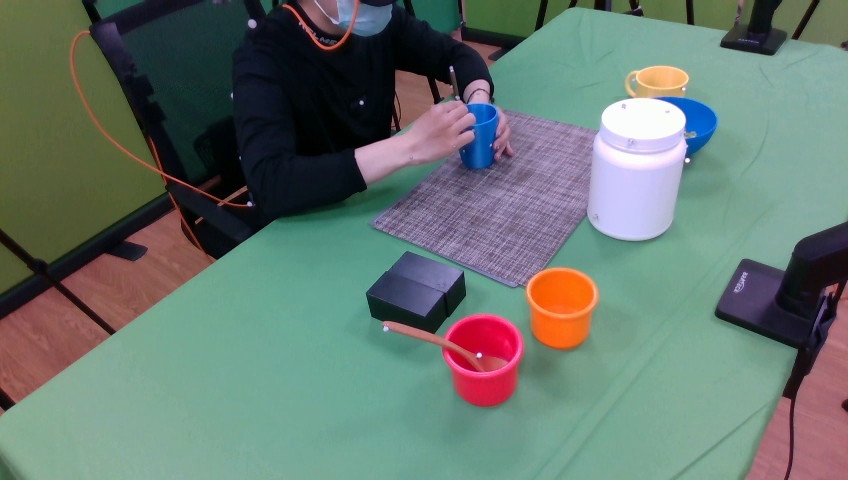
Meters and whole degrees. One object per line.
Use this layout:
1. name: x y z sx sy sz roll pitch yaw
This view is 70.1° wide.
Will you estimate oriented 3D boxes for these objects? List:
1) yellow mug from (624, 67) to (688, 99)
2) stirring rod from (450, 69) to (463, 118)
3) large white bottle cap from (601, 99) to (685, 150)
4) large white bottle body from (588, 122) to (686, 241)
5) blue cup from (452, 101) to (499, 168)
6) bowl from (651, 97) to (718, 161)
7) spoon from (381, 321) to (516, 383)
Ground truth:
1. yellow mug: 0.465 -0.305 1.230 0.100 0.064 0.129 -34 46 -27
2. stirring rod: 0.066 -0.224 1.083 0.006 0.177 0.014 0 42 18
3. large white bottle cap: 0.315 -0.169 0.870 0.115 0.018 0.114 -4 41 4
4. large white bottle body: 0.324 -0.105 0.926 0.130 0.185 0.130 -5 41 4
5. blue cup: 0.098 -0.190 1.117 0.092 0.100 0.092 -6 39 5
6. bowl: 0.439 -0.187 1.087 0.151 0.077 0.150 -4 41 4
7. spoon: 0.033 0.131 0.726 0.195 0.021 0.041 29 30 -26
